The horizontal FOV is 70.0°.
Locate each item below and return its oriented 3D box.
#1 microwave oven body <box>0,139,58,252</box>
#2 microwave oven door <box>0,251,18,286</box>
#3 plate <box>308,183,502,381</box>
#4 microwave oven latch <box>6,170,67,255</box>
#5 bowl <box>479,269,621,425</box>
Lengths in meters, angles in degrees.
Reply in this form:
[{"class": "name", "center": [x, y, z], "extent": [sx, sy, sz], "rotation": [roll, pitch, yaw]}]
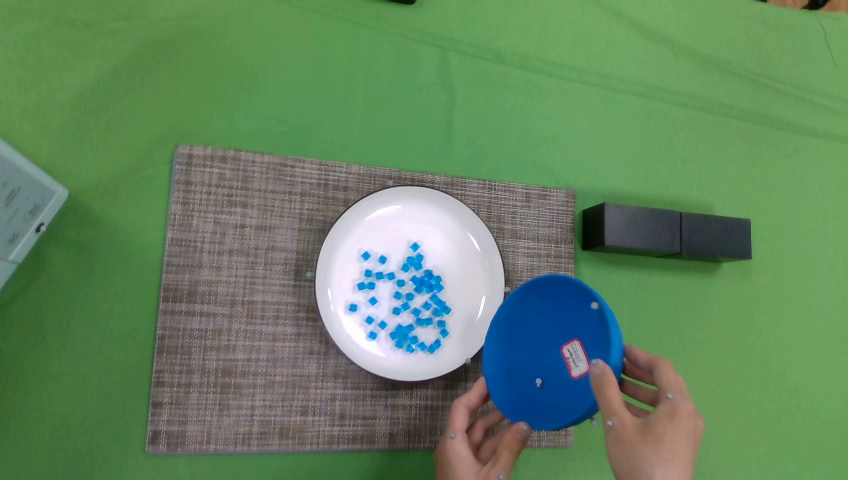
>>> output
[{"class": "microwave oven body", "center": [-0.540, 0.034, 0.384], "extent": [0.327, 0.260, 0.440], "rotation": [32, 77, -10]}, {"class": "microwave oven door", "center": [-0.436, 0.145, 0.396], "extent": [0.039, 0.243, 0.354], "rotation": [31, 76, -9]}, {"class": "plate", "center": [-0.020, 0.044, 0.647], "extent": [0.208, 0.039, 0.207], "rotation": [2, 83, -16]}, {"class": "microwave oven latch", "center": [-0.357, -0.027, 0.544], "extent": [0.030, 0.029, 0.079], "rotation": [33, 76, -10]}, {"class": "bowl", "center": [0.136, 0.111, 0.599], "extent": [0.077, 0.150, 0.151], "rotation": [24, 76, -38]}]
